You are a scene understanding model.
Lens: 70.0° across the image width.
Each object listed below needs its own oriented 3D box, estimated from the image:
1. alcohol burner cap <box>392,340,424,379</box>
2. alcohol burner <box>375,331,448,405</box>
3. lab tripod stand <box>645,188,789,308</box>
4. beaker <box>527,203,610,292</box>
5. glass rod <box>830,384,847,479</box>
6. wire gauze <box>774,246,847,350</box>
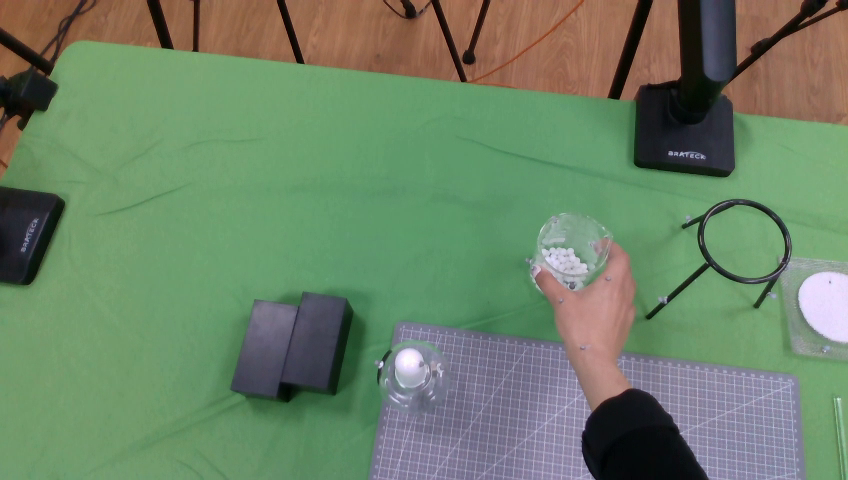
[{"bbox_3d":[-0.016,0.114,0.594,0.034,0.048,0.033,0,62,0],"label":"alcohol burner cap"},{"bbox_3d":[-0.014,0.129,0.626,0.078,0.120,0.077,-1,69,4],"label":"alcohol burner"},{"bbox_3d":[0.312,0.016,0.652,0.148,0.132,0.147,-1,71,2],"label":"lab tripod stand"},{"bbox_3d":[0.157,0.012,0.677,0.084,0.101,0.073,-17,70,-5],"label":"beaker"},{"bbox_3d":[0.434,0.248,0.625,0.008,0.008,0.198,6,70,4],"label":"glass rod"},{"bbox_3d":[0.471,0.067,0.694,0.125,0.011,0.120,6,70,2],"label":"wire gauze"}]
